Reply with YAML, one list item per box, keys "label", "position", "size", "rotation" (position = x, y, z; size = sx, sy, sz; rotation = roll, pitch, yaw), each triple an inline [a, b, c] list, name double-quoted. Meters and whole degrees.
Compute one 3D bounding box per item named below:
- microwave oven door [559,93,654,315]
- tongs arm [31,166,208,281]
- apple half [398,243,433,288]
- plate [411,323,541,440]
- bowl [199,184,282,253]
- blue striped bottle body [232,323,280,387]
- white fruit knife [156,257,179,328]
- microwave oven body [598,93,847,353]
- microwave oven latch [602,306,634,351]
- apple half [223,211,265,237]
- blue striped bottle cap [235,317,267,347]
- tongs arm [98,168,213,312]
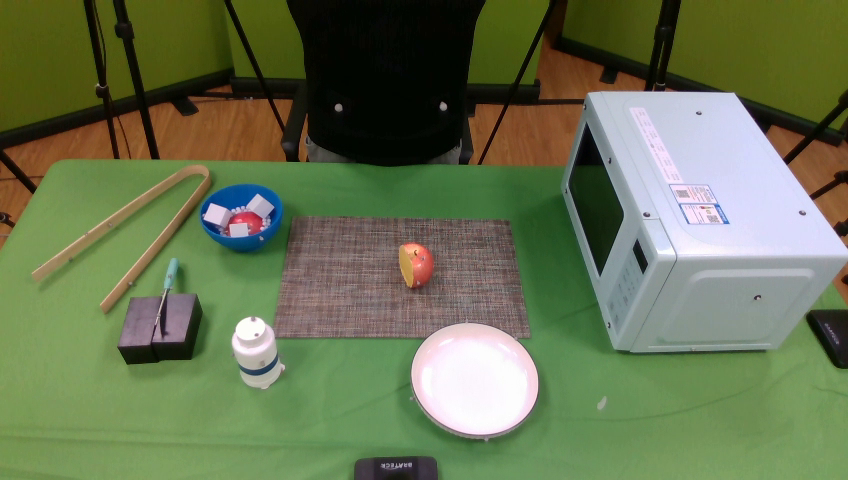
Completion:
- label: "microwave oven door"
  position: [0.327, -0.074, 1.123]
  size: [0.039, 0.245, 0.353]
  rotation: [-1, 46, -5]
- label: "tongs arm"
  position: [-0.578, -0.040, 1.184]
  size: [0.050, 0.026, 0.384]
  rotation: [23, 47, 18]
- label: "apple half"
  position: [-0.012, 0.046, 1.115]
  size: [0.053, 0.075, 0.080]
  rotation: [-11, 44, -20]
- label: "plate"
  position: [0.082, 0.228, 0.976]
  size: [0.208, 0.039, 0.206]
  rotation: [2, 45, -2]
- label: "bowl"
  position: [-0.346, -0.030, 1.164]
  size: [0.151, 0.077, 0.150]
  rotation: [3, 45, -3]
- label: "blue striped bottle body"
  position: [-0.262, 0.171, 0.944]
  size: [0.063, 0.121, 0.062]
  rotation: [2, 46, -2]
- label: "white fruit knife"
  position: [-0.440, 0.085, 1.037]
  size: [0.016, 0.027, 0.206]
  rotation: [10, 26, -19]
- label: "microwave oven body"
  position: [0.476, -0.041, 1.110]
  size: [0.326, 0.261, 0.438]
  rotation: [-1, 45, -4]
- label: "microwave oven latch"
  position: [0.333, 0.153, 1.044]
  size: [0.030, 0.029, 0.078]
  rotation: [-1, 45, -4]
- label: "apple half"
  position: [-0.346, -0.034, 1.161]
  size: [0.081, 0.033, 0.081]
  rotation: [3, 46, -3]
- label: "blue striped bottle cap"
  position: [-0.259, 0.137, 0.907]
  size: [0.044, 0.021, 0.044]
  rotation: [3, 43, -2]
- label: "tongs arm"
  position: [-0.503, -0.013, 1.167]
  size: [0.028, 0.028, 0.385]
  rotation: [11, 45, 11]
